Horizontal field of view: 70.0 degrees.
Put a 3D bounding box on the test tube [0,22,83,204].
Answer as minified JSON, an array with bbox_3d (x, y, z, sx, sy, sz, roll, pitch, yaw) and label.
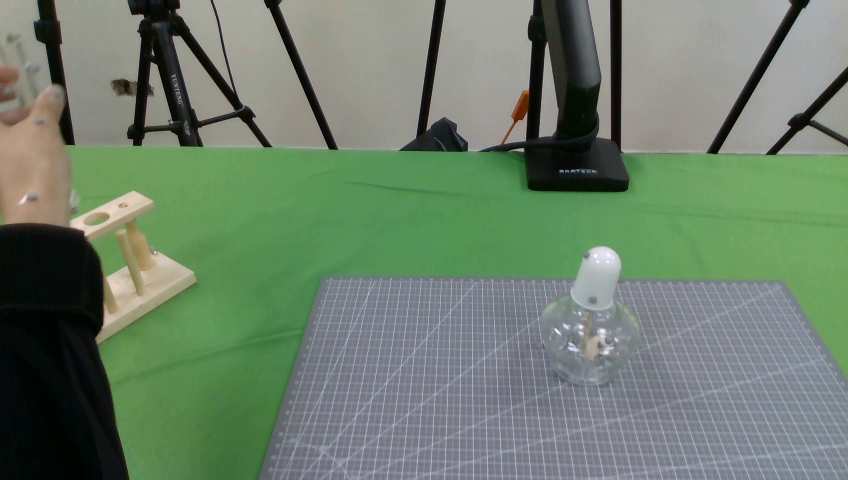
[{"bbox_3d":[-0.280,-0.086,0.449,0.017,0.151,0.017,5,43,-5],"label":"test tube"}]

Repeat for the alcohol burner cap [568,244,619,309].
[{"bbox_3d":[0.129,0.025,0.452,0.034,0.048,0.033,3,36,-2],"label":"alcohol burner cap"}]

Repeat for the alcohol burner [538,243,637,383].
[{"bbox_3d":[0.129,0.054,0.474,0.078,0.120,0.077,-1,35,1],"label":"alcohol burner"}]

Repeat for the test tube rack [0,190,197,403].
[{"bbox_3d":[-0.327,0.053,0.523,0.066,0.086,0.242,23,43,30],"label":"test tube rack"}]
